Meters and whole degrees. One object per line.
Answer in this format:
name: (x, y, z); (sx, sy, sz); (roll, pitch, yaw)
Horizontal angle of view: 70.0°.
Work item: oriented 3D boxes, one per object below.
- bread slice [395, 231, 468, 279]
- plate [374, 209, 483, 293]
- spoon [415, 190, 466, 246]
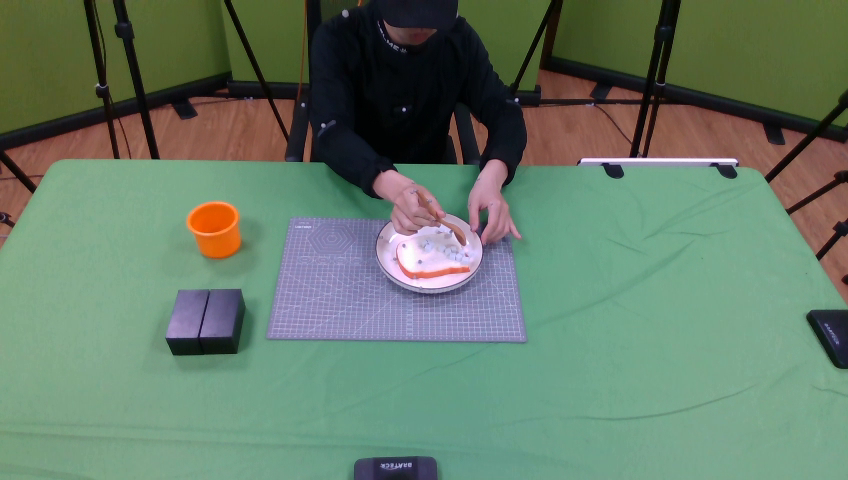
bread slice: (0.011, 0.030, 1.159); (0.132, 0.019, 0.104); (-9, 47, -14)
plate: (0.009, 0.024, 1.160); (0.209, 0.038, 0.208); (2, 46, -2)
spoon: (0.030, -0.037, 1.087); (0.021, 0.195, 0.041); (-46, 52, 4)
